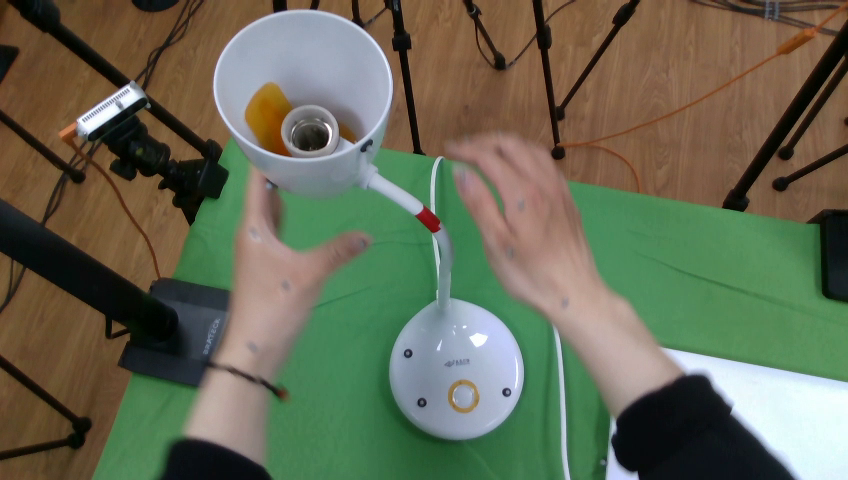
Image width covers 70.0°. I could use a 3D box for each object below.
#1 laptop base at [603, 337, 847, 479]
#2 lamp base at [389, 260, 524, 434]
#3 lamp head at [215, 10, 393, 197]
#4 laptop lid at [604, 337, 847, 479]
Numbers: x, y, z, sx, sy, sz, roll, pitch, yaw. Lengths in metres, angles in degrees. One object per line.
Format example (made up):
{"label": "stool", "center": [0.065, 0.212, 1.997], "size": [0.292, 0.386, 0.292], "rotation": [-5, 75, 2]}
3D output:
{"label": "laptop base", "center": [0.379, 0.252, 0.671], "size": [0.354, 0.023, 0.234], "rotation": [10, 70, 6]}
{"label": "lamp base", "center": [0.031, 0.106, 0.652], "size": [0.161, 0.181, 0.177], "rotation": [-18, 65, -6]}
{"label": "lamp head", "center": [-0.076, -0.080, 0.433], "size": [0.112, 0.123, 0.111], "rotation": [0, 68, 0]}
{"label": "laptop lid", "center": [0.378, 0.249, 0.659], "size": [0.356, 0.013, 0.240], "rotation": [12, 70, 6]}
